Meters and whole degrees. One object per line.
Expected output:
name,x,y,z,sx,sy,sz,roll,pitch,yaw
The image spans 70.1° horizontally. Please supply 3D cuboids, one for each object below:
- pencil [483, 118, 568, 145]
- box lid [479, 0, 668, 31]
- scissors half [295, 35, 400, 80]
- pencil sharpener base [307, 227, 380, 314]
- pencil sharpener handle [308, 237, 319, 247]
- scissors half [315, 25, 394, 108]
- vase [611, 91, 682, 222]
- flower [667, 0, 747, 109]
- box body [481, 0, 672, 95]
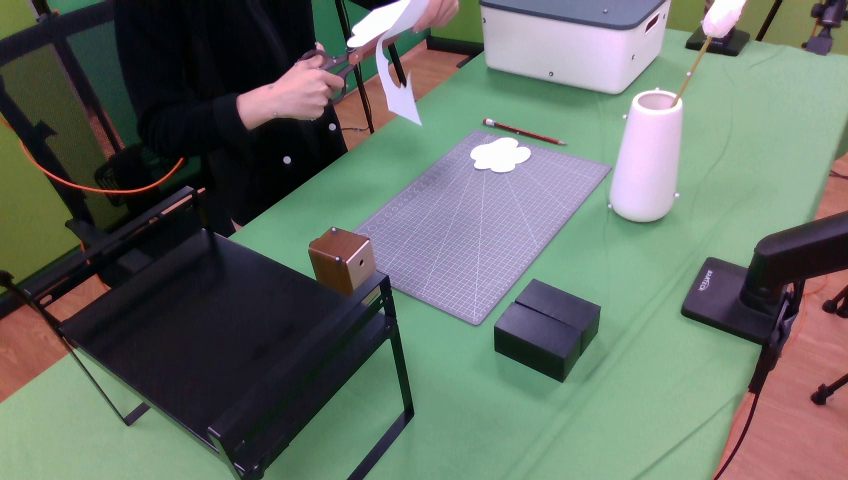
pencil,0.201,-0.217,1.212,0.192,0.012,0.012,24,49,29
box lid,0.335,-0.536,1.331,0.368,0.015,0.264,23,49,30
scissors half,-0.121,-0.291,0.948,0.175,0.040,0.013,-16,27,4
pencil sharpener base,-0.116,0.043,0.875,0.076,0.107,0.061,18,47,28
pencil sharpener handle,-0.159,0.017,0.892,0.030,0.068,0.036,18,60,28
scissors half,-0.108,-0.274,0.956,0.175,0.040,0.012,-45,17,16
vase,0.348,-0.125,0.935,0.098,0.201,0.097,-3,40,3
flower,0.354,-0.187,0.879,0.038,0.362,0.044,30,48,14
box body,0.341,-0.480,1.381,0.361,0.161,0.255,22,48,30
